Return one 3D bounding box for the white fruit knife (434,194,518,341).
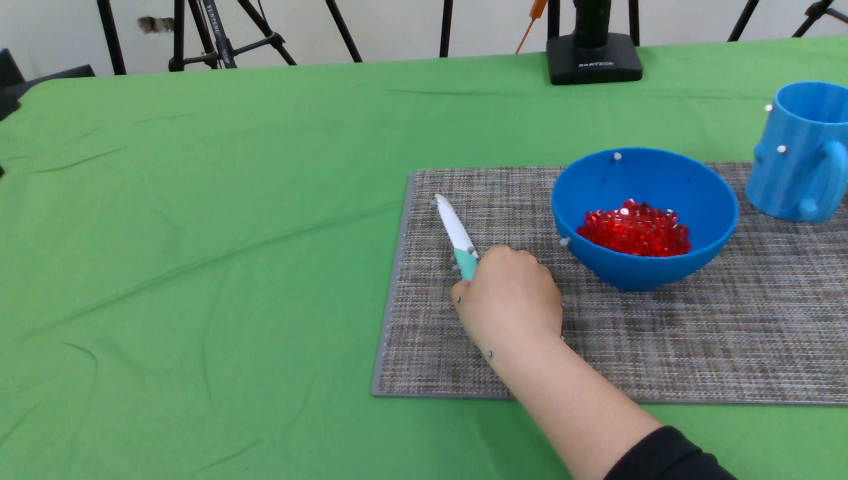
[{"bbox_3d":[0.039,0.016,0.565,0.027,0.016,0.205,7,35,-23],"label":"white fruit knife"}]

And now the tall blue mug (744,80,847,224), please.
[{"bbox_3d":[0.362,-0.074,0.560,0.078,0.109,0.106,-19,44,-13],"label":"tall blue mug"}]

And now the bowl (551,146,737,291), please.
[{"bbox_3d":[0.187,-0.008,0.537,0.151,0.077,0.150,-4,43,4],"label":"bowl"}]
